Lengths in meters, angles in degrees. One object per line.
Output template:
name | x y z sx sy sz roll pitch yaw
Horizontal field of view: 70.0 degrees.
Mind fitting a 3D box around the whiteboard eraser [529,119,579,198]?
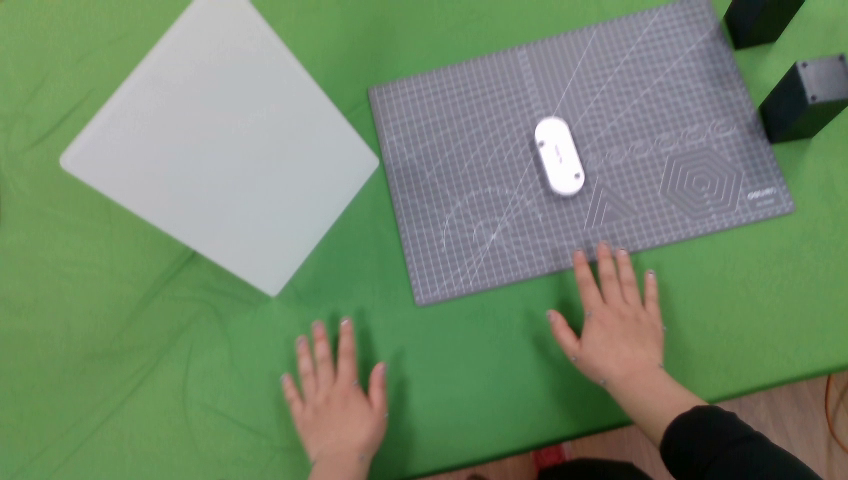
whiteboard eraser | 0.157 -0.100 0.735 0.041 0.019 0.100 -15 74 2

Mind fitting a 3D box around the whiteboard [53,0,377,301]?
whiteboard | -0.230 -0.106 0.673 0.142 0.309 0.217 32 81 35
